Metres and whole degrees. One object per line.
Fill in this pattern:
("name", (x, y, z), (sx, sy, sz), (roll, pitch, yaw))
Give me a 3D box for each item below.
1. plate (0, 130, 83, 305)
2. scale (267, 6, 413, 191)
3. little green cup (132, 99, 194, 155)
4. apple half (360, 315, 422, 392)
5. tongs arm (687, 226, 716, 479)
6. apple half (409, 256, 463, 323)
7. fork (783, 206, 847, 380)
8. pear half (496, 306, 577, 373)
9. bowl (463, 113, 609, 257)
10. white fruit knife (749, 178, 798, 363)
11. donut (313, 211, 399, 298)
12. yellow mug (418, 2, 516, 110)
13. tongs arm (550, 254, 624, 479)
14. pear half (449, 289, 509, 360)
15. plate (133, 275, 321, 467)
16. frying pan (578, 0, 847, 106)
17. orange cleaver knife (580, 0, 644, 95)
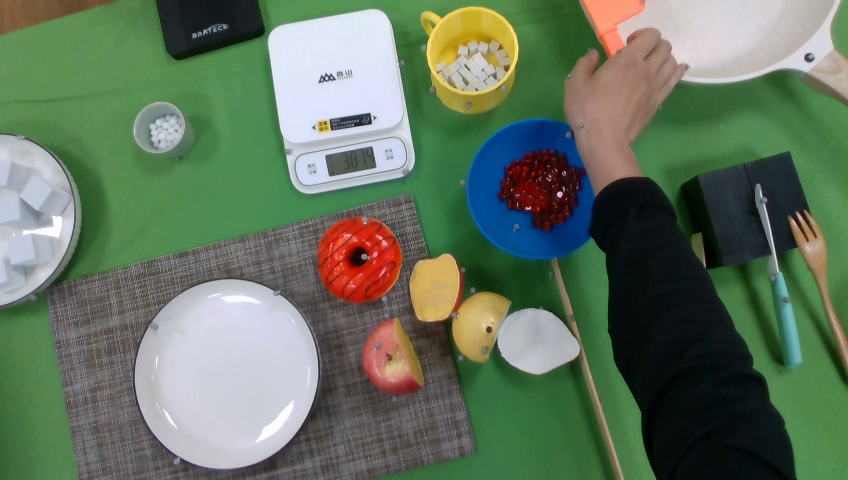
("plate", (-0.499, -0.025, 0.715), (0.207, 0.039, 0.207), (0, 84, 3))
("scale", (-0.099, -0.166, 0.708), (0.148, 0.031, 0.200), (-10, 84, 3))
("little green cup", (-0.304, -0.130, 0.714), (0.061, 0.039, 0.061), (0, 84, 4))
("apple half", (-0.040, 0.126, 0.651), (0.053, 0.075, 0.080), (-24, 87, 5))
("tongs arm", (0.294, 0.178, 0.653), (0.028, 0.028, 0.386), (1, 85, -4))
("apple half", (0.021, 0.054, 0.675), (0.080, 0.033, 0.081), (11, 105, 46))
("fork", (0.422, 0.061, 0.638), (0.028, 0.018, 0.208), (-24, 98, -5))
("pear half", (0.125, 0.110, 0.666), (0.087, 0.031, 0.070), (11, 83, 19))
("bowl", (0.118, -0.053, 0.661), (0.151, 0.077, 0.151), (0, 85, 3))
("white fruit knife", (0.365, 0.036, 0.636), (0.016, 0.027, 0.208), (-16, 98, 2))
("donut", (-0.076, 0.016, 0.678), (0.099, 0.048, 0.099), (0, 86, 6))
("yellow mug", (0.041, -0.216, 0.687), (0.130, 0.064, 0.100), (43, 89, 8))
("tongs arm", (0.209, 0.191, 0.652), (0.051, 0.026, 0.383), (-14, 84, -2))
("pear half", (0.054, 0.085, 0.635), (0.056, 0.110, 0.076), (18, 80, 6))
("plate", (-0.215, 0.143, 0.677), (0.209, 0.038, 0.208), (0, 84, 4))
("frying pan", (0.369, -0.234, 0.650), (0.307, 0.103, 0.485), (-41, 75, 0))
("orange cleaver knife", (0.193, -0.257, 0.644), (0.077, 0.012, 0.210), (-24, 84, -2))
